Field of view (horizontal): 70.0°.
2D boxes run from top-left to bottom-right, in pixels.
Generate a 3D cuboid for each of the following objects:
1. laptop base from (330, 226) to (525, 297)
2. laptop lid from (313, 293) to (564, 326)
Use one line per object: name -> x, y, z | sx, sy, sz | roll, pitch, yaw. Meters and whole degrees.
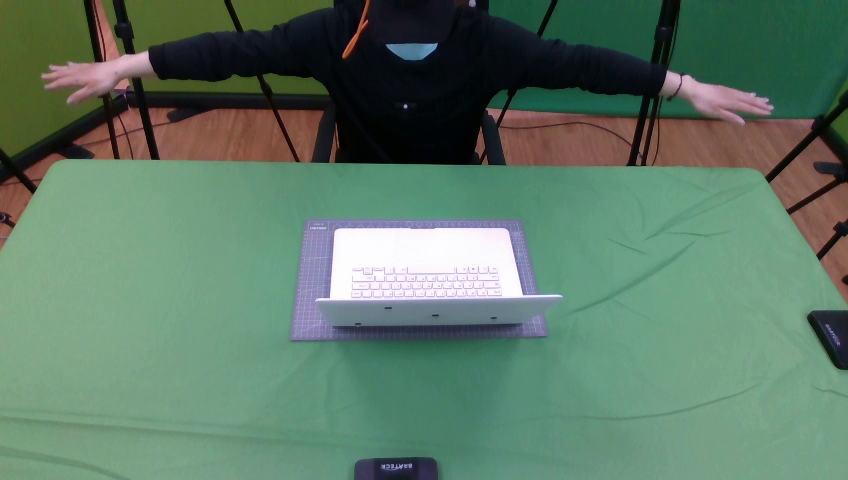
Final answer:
laptop base -> 0.005, 0.061, 1.137 | 0.355, 0.023, 0.234 | 0, 43, -4
laptop lid -> 0.017, 0.112, 0.945 | 0.357, 0.242, 0.013 | 0, 74, -5
